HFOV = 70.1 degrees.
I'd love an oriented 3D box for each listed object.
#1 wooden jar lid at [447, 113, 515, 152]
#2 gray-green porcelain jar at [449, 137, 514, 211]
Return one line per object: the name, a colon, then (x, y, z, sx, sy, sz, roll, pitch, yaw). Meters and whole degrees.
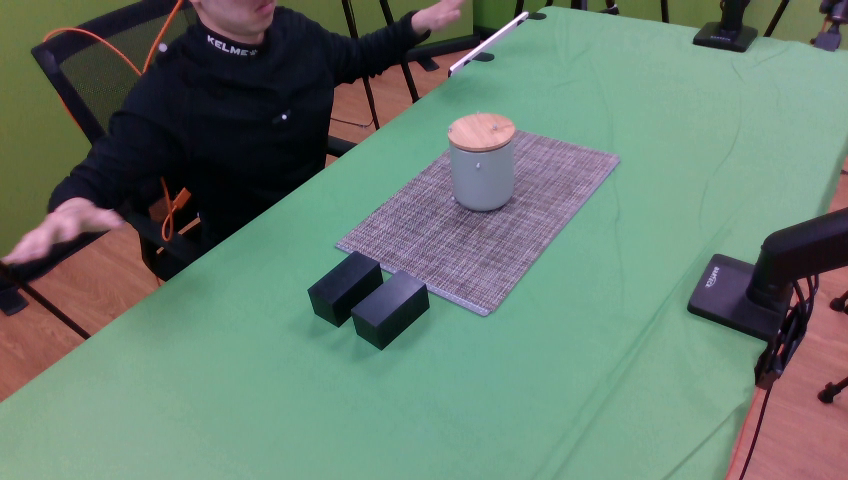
wooden jar lid: (0.091, -0.169, 0.967, 0.108, 0.021, 0.108, -5, 39, 4)
gray-green porcelain jar: (0.098, -0.120, 1.009, 0.106, 0.127, 0.105, -4, 41, 4)
